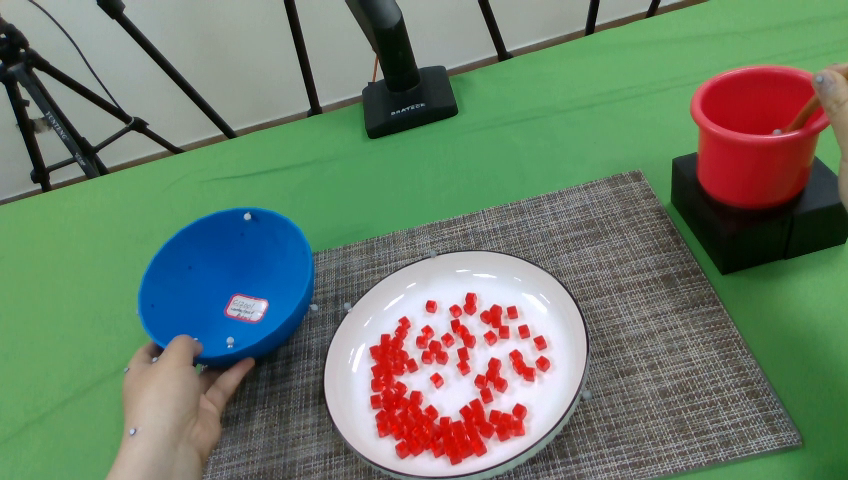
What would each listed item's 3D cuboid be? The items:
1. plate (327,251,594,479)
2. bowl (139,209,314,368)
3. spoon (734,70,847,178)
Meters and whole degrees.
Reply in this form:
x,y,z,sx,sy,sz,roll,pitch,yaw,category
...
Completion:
x,y,z,sx,sy,sz,roll,pitch,yaw,category
0.027,0.095,0.477,0.207,0.039,0.205,-10,43,10,plate
-0.164,0.055,0.546,0.151,0.077,0.150,-4,55,6,bowl
0.266,-0.089,0.407,0.021,0.195,0.041,33,75,10,spoon
